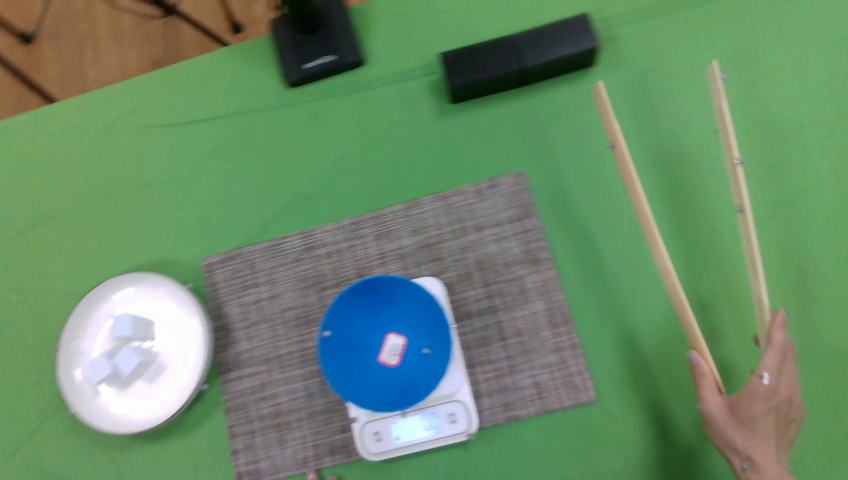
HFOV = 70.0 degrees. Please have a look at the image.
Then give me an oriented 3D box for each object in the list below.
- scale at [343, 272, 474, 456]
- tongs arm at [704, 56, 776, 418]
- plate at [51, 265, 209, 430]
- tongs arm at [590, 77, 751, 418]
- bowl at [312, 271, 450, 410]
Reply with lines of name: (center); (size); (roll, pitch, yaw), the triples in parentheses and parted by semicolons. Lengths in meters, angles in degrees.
scale: (-0.032, 0.147, 0.734); (0.148, 0.032, 0.199); (-14, 75, 4)
tongs arm: (0.324, -0.010, 0.647); (0.051, 0.026, 0.383); (-8, 83, -6)
plate: (-0.373, 0.137, 0.781); (0.207, 0.039, 0.206); (-2, 76, 7)
tongs arm: (0.252, 0.005, 0.642); (0.028, 0.028, 0.386); (-18, 83, -10)
bowl: (-0.042, 0.116, 0.688); (0.151, 0.077, 0.150); (-1, 76, 6)
